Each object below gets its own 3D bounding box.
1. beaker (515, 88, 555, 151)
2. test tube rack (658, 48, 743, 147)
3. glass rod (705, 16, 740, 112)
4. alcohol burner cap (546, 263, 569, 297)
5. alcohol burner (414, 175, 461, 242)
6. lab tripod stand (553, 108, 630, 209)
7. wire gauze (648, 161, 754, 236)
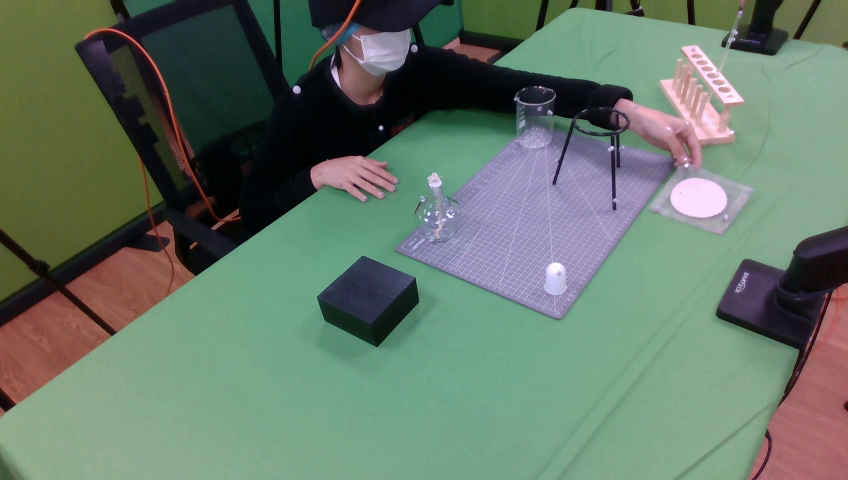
[{"bbox_3d":[0.213,-0.230,1.152,0.073,0.101,0.084,20,47,29],"label":"beaker"},{"bbox_3d":[0.532,-0.284,1.181,0.067,0.085,0.241,-5,40,4],"label":"test tube rack"},{"bbox_3d":[0.550,-0.319,1.117,0.008,0.200,0.008,-2,47,3],"label":"glass rod"},{"bbox_3d":[0.191,0.053,0.862,0.034,0.048,0.033,-5,40,4],"label":"alcohol burner cap"},{"bbox_3d":[0.021,-0.055,0.963,0.078,0.119,0.077,-4,41,4],"label":"alcohol burner"},{"bbox_3d":[0.292,-0.144,1.010,0.148,0.132,0.147,-5,38,4],"label":"lab tripod stand"},{"bbox_3d":[0.451,-0.068,0.984,0.120,0.011,0.125,29,63,29],"label":"wire gauze"}]
